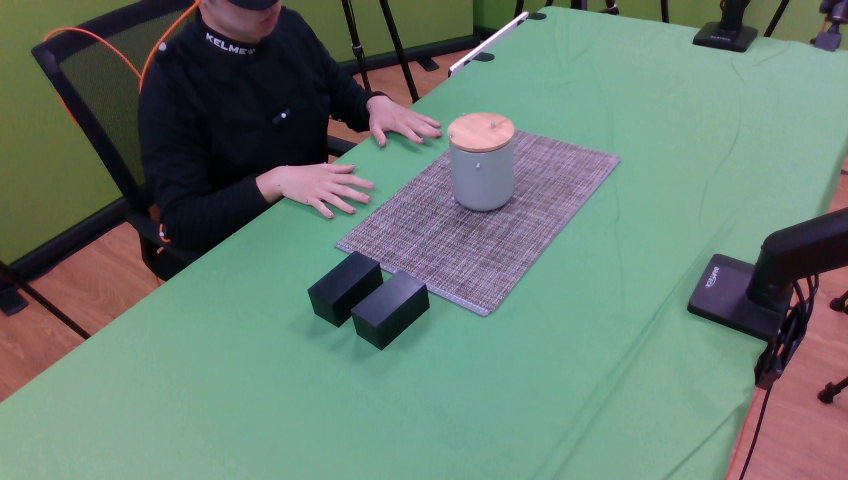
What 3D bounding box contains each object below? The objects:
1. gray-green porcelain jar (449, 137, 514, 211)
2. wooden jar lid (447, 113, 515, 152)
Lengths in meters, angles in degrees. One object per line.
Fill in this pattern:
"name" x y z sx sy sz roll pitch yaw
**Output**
"gray-green porcelain jar" 0.098 -0.120 1.008 0.106 0.127 0.105 -4 41 4
"wooden jar lid" 0.091 -0.169 0.968 0.108 0.021 0.108 -4 42 4
